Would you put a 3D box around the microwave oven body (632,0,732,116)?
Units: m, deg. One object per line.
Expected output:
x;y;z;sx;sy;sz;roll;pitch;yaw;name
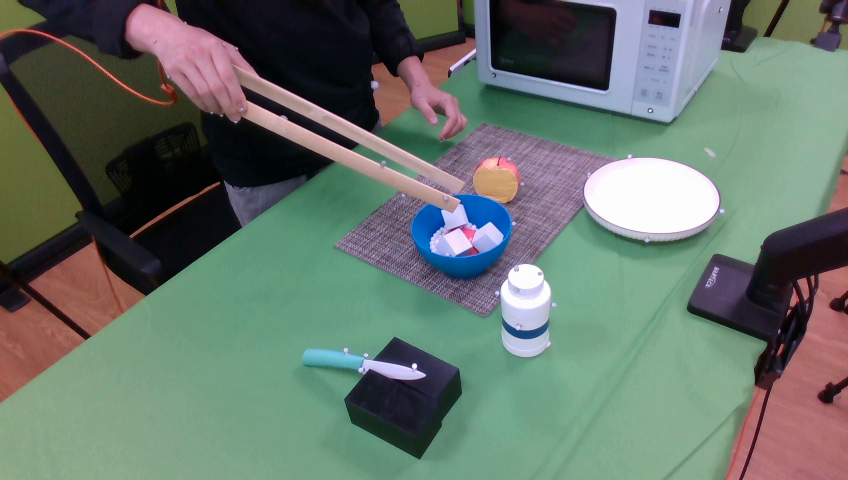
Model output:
0.377;-0.462;1.267;0.438;0.261;0.327;21;48;30;microwave oven body

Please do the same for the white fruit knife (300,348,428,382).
-0.080;0.155;0.748;0.206;0.027;0.016;0;20;34;white fruit knife

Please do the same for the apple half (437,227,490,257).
0.056;0.001;0.902;0.081;0.033;0.081;-3;41;3;apple half

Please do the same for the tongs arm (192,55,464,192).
-0.121;-0.153;0.816;0.389;0.027;0.028;24;47;-10;tongs arm

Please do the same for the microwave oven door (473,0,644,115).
0.257;-0.396;1.199;0.353;0.245;0.039;21;48;29;microwave oven door

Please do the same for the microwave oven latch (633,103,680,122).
0.444;-0.249;1.157;0.078;0.029;0.030;21;48;30;microwave oven latch

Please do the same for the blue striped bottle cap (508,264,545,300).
0.125;0.050;0.735;0.044;0.021;0.044;-5;39;5;blue striped bottle cap

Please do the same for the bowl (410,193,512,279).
0.058;0.005;0.905;0.151;0.077;0.150;-4;40;4;bowl

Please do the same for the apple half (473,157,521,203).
0.127;-0.106;1.030;0.080;0.075;0.053;4;36;19;apple half

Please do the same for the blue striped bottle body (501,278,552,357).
0.130;0.089;0.769;0.063;0.121;0.063;-4;41;4;blue striped bottle body

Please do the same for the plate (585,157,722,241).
0.367;-0.063;0.979;0.207;0.039;0.206;-4;40;4;plate

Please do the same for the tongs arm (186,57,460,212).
-0.127;-0.133;0.794;0.386;0.026;0.050;23;44;-12;tongs arm
